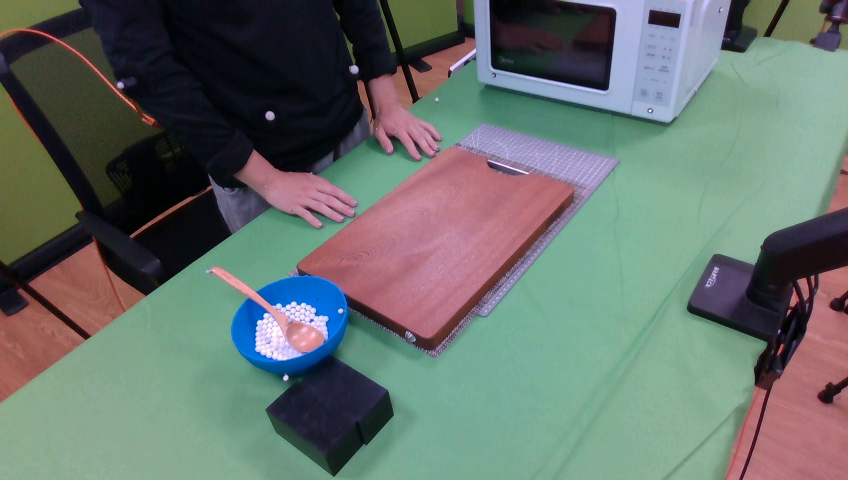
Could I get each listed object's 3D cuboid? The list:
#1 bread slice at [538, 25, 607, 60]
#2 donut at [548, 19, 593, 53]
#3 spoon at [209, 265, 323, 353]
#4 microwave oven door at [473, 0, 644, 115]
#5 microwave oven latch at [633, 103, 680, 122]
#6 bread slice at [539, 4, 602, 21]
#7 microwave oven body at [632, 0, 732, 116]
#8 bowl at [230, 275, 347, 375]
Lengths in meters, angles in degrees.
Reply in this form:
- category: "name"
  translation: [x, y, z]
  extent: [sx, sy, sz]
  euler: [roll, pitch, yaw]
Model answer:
- category: "bread slice"
  translation: [0.334, -0.442, 1.337]
  extent: [0.132, 0.019, 0.104]
  euler: [-33, 43, -21]
- category: "donut"
  translation: [0.314, -0.440, 1.300]
  extent: [0.099, 0.048, 0.098]
  euler: [-19, 36, 15]
- category: "spoon"
  translation: [-0.214, 0.087, 0.806]
  extent: [0.193, 0.021, 0.042]
  euler: [37, 56, 11]
- category: "microwave oven door"
  translation: [0.257, -0.396, 1.199]
  extent: [0.353, 0.245, 0.039]
  euler: [21, 48, 29]
- category: "microwave oven latch"
  translation: [0.443, -0.249, 1.157]
  extent: [0.078, 0.029, 0.030]
  euler: [20, 48, 30]
- category: "bread slice"
  translation: [0.314, -0.483, 1.278]
  extent: [0.106, 0.018, 0.135]
  euler: [15, 32, 26]
- category: "microwave oven body"
  translation: [0.377, -0.462, 1.267]
  extent: [0.438, 0.261, 0.327]
  euler: [21, 48, 30]
- category: "bowl"
  translation: [-0.171, 0.125, 0.802]
  extent: [0.151, 0.077, 0.150]
  euler: [-4, 40, 4]
